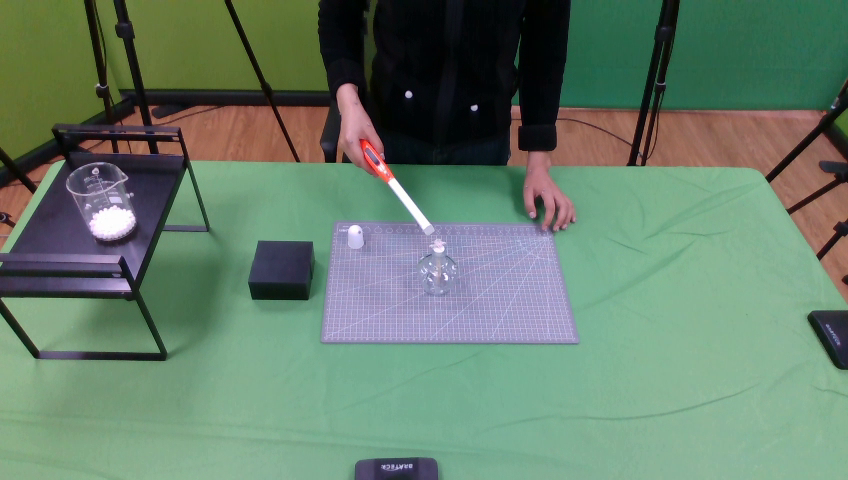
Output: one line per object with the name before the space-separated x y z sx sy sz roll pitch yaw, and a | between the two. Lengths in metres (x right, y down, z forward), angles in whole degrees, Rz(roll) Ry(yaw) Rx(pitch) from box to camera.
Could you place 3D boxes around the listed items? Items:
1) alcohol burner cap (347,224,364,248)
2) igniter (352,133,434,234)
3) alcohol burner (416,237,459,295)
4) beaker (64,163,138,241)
alcohol burner cap | -0.134 -0.011 1.177 0.034 0.048 0.033 2 47 -2
igniter | -0.063 -0.112 1.119 0.025 0.057 0.275 -36 59 -2
alcohol burner | 0.025 0.042 1.088 0.078 0.120 0.077 1 46 0
beaker | -0.477 -0.055 0.910 0.084 0.101 0.073 -9 48 -13
